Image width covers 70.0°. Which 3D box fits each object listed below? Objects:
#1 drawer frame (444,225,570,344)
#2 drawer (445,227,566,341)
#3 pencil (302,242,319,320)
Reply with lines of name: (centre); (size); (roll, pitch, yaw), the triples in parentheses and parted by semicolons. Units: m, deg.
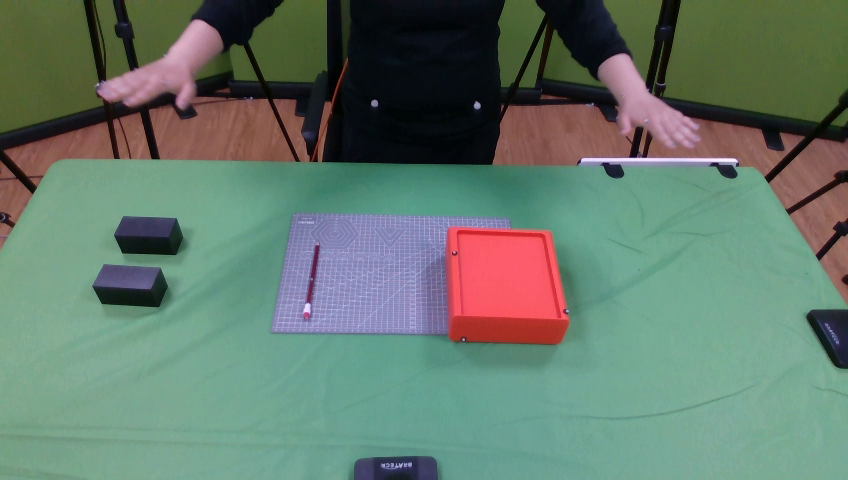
drawer frame: (0.141, 0.077, 1.088); (0.202, 0.083, 0.212); (2, 47, -4)
drawer: (0.139, 0.076, 1.091); (0.195, 0.073, 0.210); (3, 47, -3)
pencil: (-0.208, 0.069, 1.119); (0.012, 0.012, 0.193); (2, 44, -2)
